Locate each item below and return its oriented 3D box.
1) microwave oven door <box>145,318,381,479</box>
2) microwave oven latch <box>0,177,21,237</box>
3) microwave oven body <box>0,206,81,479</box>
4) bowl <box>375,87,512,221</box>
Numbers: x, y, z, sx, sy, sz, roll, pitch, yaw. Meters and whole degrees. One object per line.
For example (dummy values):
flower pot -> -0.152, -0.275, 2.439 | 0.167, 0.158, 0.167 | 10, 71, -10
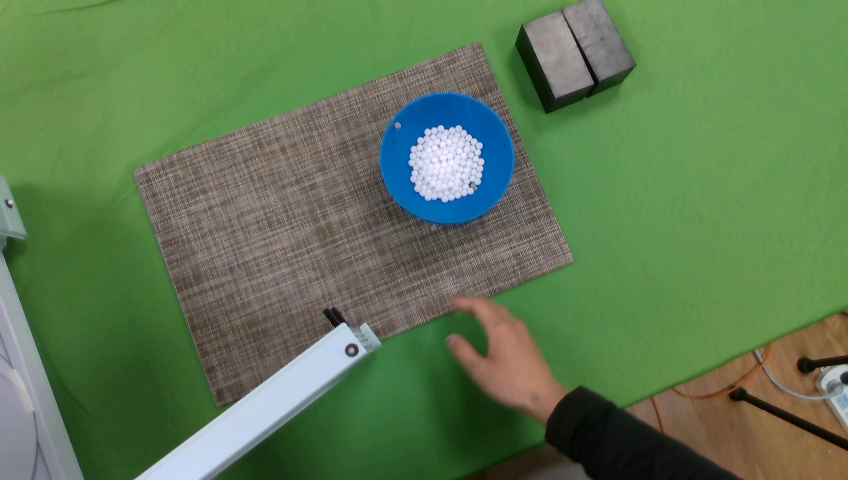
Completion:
microwave oven door -> -0.195, 0.193, 0.560 | 0.356, 0.244, 0.039 | -38, 84, -6
microwave oven latch -> -0.486, -0.044, 0.681 | 0.030, 0.029, 0.079 | -24, 85, -5
microwave oven body -> -0.548, 0.162, 0.556 | 0.326, 0.260, 0.440 | -23, 85, -5
bowl -> 0.021, -0.090, 0.698 | 0.151, 0.077, 0.151 | 0, 83, -2
